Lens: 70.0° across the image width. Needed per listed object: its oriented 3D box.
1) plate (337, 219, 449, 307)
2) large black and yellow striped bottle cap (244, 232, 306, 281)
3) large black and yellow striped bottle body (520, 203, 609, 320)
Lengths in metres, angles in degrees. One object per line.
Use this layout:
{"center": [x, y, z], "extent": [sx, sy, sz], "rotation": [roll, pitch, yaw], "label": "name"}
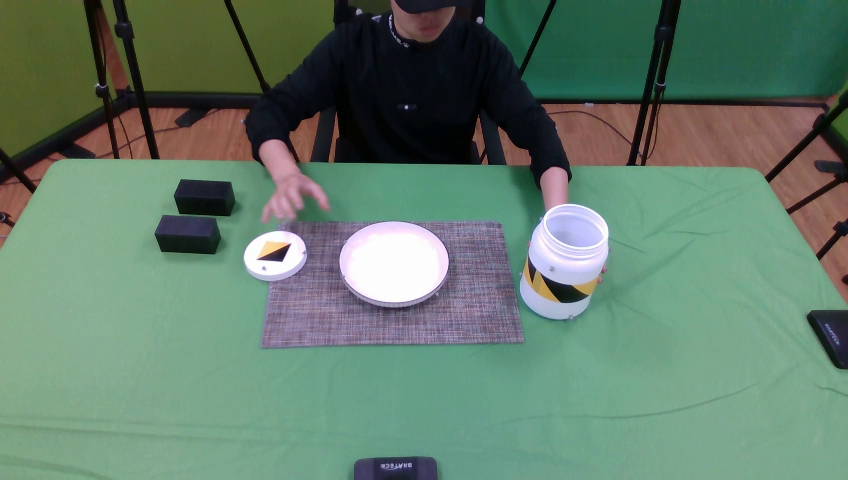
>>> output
{"center": [-0.057, 0.045, 1.132], "extent": [0.208, 0.039, 0.206], "rotation": [2, 46, -2], "label": "plate"}
{"center": [-0.282, 0.030, 1.145], "extent": [0.115, 0.019, 0.114], "rotation": [0, 45, 1], "label": "large black and yellow striped bottle cap"}
{"center": [0.247, 0.038, 1.065], "extent": [0.131, 0.185, 0.130], "rotation": [2, 46, -2], "label": "large black and yellow striped bottle body"}
